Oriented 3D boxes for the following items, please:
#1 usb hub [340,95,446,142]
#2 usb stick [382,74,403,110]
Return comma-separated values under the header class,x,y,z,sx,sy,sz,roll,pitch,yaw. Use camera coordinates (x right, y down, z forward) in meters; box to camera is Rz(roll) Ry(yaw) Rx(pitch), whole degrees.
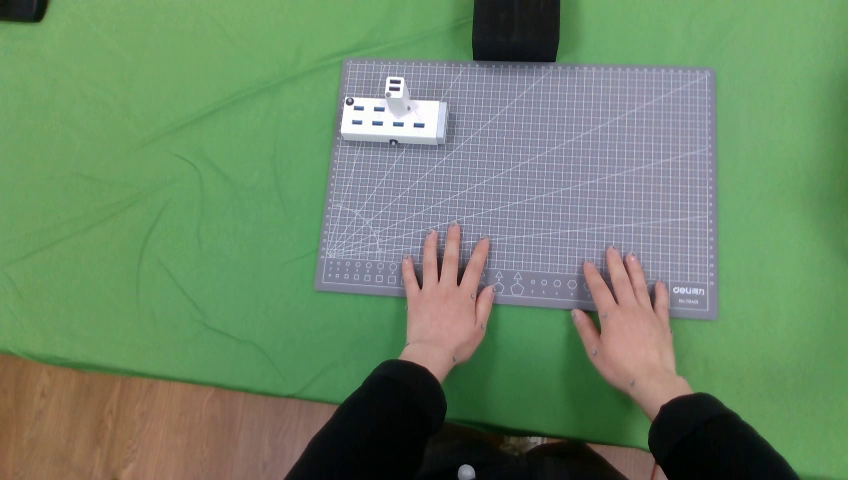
class,x,y,z,sx,sy,sz,roll,pitch,yaw
usb hub,-0.037,-0.147,0.729,0.125,0.025,0.049,4,78,6
usb stick,-0.036,-0.168,0.704,0.021,0.059,0.027,6,79,0
